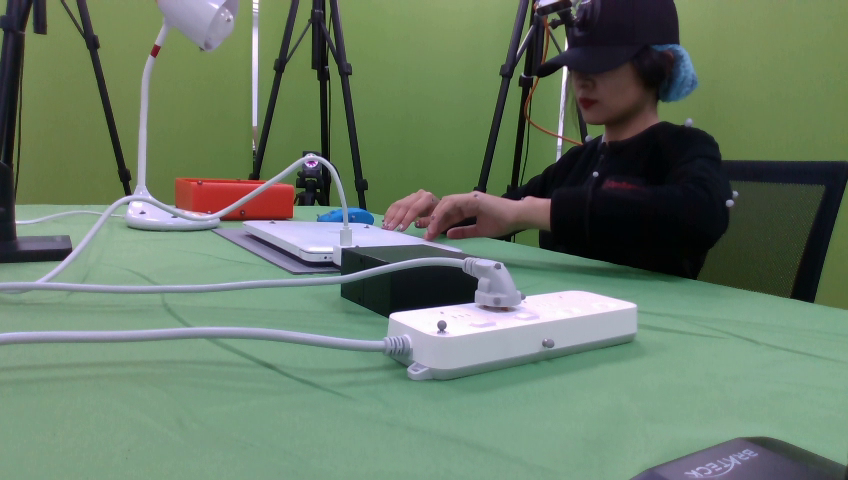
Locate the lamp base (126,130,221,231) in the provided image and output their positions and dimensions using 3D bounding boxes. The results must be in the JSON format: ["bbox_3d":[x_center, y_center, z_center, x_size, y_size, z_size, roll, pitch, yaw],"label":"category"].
[{"bbox_3d":[-0.469,-0.112,1.108,0.179,0.180,0.160,0,7,3],"label":"lamp base"}]

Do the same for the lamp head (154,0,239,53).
[{"bbox_3d":[-0.406,-0.402,1.059,0.123,0.112,0.112,25,6,-6],"label":"lamp head"}]

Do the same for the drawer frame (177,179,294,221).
[{"bbox_3d":[-0.422,-0.092,1.352,0.215,0.082,0.200,-3,10,-32],"label":"drawer frame"}]

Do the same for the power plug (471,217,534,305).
[{"bbox_3d":[0.055,0.014,0.454,0.035,0.072,0.052,-22,-1,-40],"label":"power plug"}]

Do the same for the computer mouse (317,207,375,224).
[{"bbox_3d":[-0.163,-0.048,1.264,0.118,0.041,0.062,-6,12,-28],"label":"computer mouse"}]

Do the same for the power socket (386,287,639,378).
[{"bbox_3d":[0.074,0.064,0.461,0.228,0.032,0.072,-4,8,-34],"label":"power socket"}]

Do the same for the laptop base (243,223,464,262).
[{"bbox_3d":[-0.127,0.003,0.946,0.237,0.023,0.352,2,6,-30],"label":"laptop base"}]

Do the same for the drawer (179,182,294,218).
[{"bbox_3d":[-0.420,-0.091,1.354,0.213,0.073,0.193,-3,10,-31],"label":"drawer"}]

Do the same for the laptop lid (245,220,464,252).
[{"bbox_3d":[-0.125,-0.009,0.946,0.243,0.013,0.355,1,7,-28],"label":"laptop lid"}]

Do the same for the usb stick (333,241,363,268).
[{"bbox_3d":[-0.096,0.017,0.742,0.021,0.027,0.059,-6,8,-31],"label":"usb stick"}]
